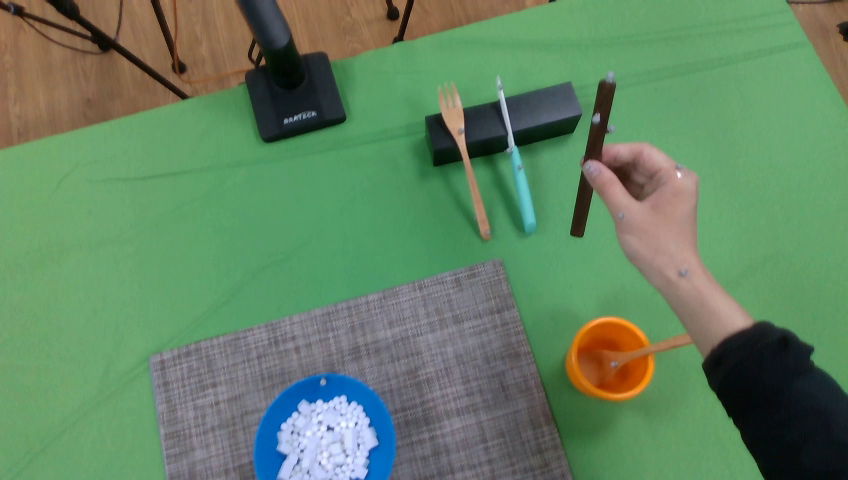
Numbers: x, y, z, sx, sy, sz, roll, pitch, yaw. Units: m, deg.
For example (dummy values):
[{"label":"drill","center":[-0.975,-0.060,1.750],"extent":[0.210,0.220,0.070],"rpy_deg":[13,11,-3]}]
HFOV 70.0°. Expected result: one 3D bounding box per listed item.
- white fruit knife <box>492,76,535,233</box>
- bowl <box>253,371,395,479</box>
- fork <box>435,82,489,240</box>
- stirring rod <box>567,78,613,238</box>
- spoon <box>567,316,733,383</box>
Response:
[{"label":"white fruit knife","center":[0.113,-0.111,0.781],"extent":[0.016,0.027,0.207],"rpy_deg":[-14,89,-7]},{"label":"bowl","center":[-0.105,0.226,0.674],"extent":[0.151,0.077,0.150],"rpy_deg":[0,72,0]},{"label":"fork","center":[0.051,-0.099,0.779],"extent":[0.028,0.018,0.207],"rpy_deg":[-17,93,-8]},{"label":"stirring rod","center":[0.143,-0.063,0.528],"extent":[0.014,0.178,0.006],"rpy_deg":[12,49,14]},{"label":"spoon","center":[0.246,0.121,0.675],"extent":[0.022,0.193,0.041],"rpy_deg":[4,65,-46]}]
